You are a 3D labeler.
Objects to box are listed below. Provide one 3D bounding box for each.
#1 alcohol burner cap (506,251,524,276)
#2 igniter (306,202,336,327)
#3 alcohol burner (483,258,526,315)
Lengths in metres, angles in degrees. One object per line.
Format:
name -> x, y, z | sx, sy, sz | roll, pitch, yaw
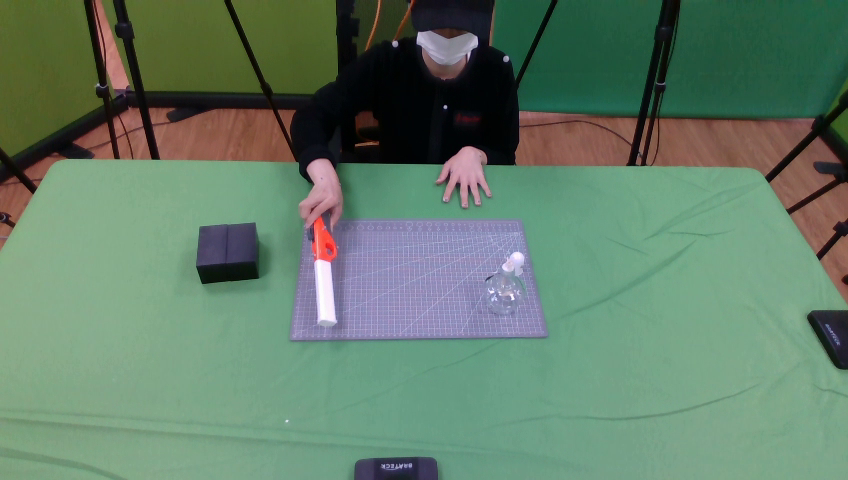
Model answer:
alcohol burner cap -> 0.175, 0.043, 1.151 | 0.034, 0.048, 0.033 | 1, 46, -1
igniter -> -0.185, 0.034, 1.099 | 0.057, 0.025, 0.274 | 20, 43, -35
alcohol burner -> 0.143, 0.076, 1.067 | 0.078, 0.120, 0.077 | 1, 45, -1
